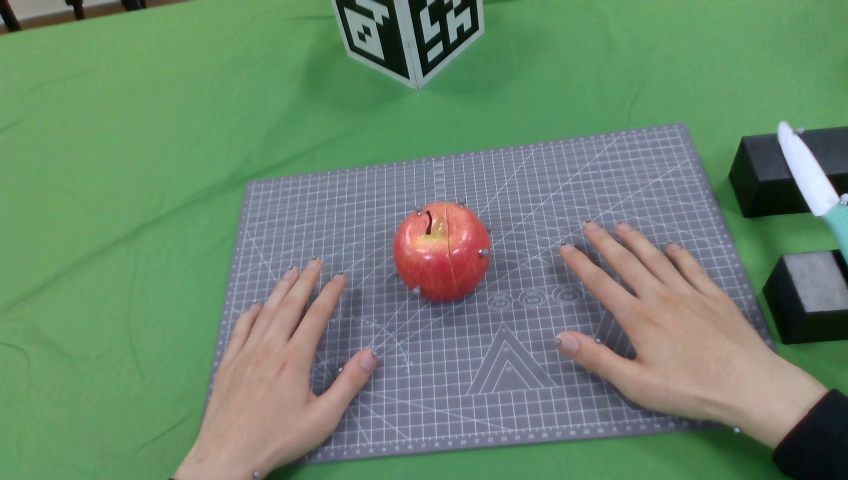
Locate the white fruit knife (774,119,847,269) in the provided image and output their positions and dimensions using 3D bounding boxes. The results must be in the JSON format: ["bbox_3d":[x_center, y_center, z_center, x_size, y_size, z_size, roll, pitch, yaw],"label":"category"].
[{"bbox_3d":[0.306,-0.021,0.454,0.027,0.016,0.205,-12,53,13],"label":"white fruit knife"}]

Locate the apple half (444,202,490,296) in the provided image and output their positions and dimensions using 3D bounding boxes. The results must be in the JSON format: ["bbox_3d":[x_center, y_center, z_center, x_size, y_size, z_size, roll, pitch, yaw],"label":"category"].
[{"bbox_3d":[0.039,0.007,0.503,0.033,0.082,0.080,-10,53,9],"label":"apple half"}]

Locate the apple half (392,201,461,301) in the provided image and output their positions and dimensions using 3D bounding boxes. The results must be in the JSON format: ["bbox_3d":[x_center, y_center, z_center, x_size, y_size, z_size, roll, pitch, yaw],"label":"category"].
[{"bbox_3d":[0.001,0.013,0.508,0.053,0.075,0.080,-10,58,10],"label":"apple half"}]
